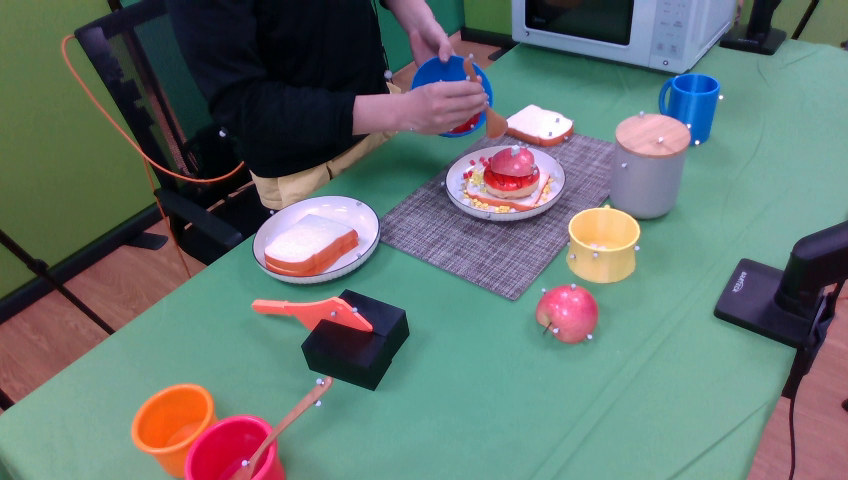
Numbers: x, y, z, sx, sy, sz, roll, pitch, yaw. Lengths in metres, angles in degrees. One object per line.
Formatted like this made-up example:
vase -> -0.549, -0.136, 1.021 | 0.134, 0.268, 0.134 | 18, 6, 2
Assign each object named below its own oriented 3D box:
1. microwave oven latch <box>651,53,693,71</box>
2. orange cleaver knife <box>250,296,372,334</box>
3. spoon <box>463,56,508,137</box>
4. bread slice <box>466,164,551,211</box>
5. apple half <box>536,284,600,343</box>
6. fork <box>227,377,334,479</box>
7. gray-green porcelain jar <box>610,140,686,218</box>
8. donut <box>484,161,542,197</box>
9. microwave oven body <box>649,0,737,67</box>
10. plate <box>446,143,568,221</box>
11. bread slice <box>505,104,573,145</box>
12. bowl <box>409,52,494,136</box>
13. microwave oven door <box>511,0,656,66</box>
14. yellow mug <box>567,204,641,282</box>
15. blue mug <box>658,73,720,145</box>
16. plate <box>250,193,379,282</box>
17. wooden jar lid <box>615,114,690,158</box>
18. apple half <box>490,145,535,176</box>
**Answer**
microwave oven latch -> 0.532, -0.386, 1.301 | 0.078, 0.029, 0.030 | 27, 52, 34
orange cleaver knife -> -0.159, 0.103, 0.828 | 0.210, 0.078, 0.012 | -4, 43, 39
spoon -> 0.091, -0.214, 0.923 | 0.041, 0.195, 0.021 | -34, 54, 6
bread slice -> 0.141, -0.090, 1.043 | 0.133, 0.018, 0.107 | 12, 44, 18
apple half -> 0.196, 0.091, 0.815 | 0.075, 0.053, 0.080 | -22, 42, -20
fork -> -0.163, 0.216, 0.647 | 0.207, 0.019, 0.028 | -49, 41, 16
gray-green porcelain jar -> 0.354, -0.106, 0.964 | 0.106, 0.127, 0.105 | -4, 41, 4
donut -> 0.149, -0.109, 1.016 | 0.099, 0.048, 0.098 | -4, 39, 4
microwave oven body -> 0.475, -0.602, 1.411 | 0.438, 0.261, 0.327 | 23, 50, 32
plate -> 0.142, -0.097, 1.045 | 0.207, 0.039, 0.206 | -4, 41, 4
bread slice -> 0.231, -0.231, 1.205 | 0.105, 0.019, 0.130 | -36, 47, -28
bowl -> 0.043, -0.251, 1.090 | 0.152, 0.076, 0.151 | 2, 79, -10
microwave oven door -> 0.350, -0.539, 1.348 | 0.353, 0.245, 0.039 | 24, 50, 31
yellow mug -> 0.268, -0.005, 0.905 | 0.099, 0.064, 0.130 | 7, 42, 16
blue mug -> 0.483, -0.250, 1.127 | 0.082, 0.106, 0.115 | -26, 44, -20
plate -> -0.174, -0.001, 0.984 | 0.209, 0.038, 0.208 | -3, 40, 3
wooden jar lid -> 0.347, -0.155, 0.923 | 0.108, 0.021, 0.108 | -3, 44, 4
apple half -> 0.147, -0.138, 0.993 | 0.081, 0.033, 0.081 | 2, 38, -1
